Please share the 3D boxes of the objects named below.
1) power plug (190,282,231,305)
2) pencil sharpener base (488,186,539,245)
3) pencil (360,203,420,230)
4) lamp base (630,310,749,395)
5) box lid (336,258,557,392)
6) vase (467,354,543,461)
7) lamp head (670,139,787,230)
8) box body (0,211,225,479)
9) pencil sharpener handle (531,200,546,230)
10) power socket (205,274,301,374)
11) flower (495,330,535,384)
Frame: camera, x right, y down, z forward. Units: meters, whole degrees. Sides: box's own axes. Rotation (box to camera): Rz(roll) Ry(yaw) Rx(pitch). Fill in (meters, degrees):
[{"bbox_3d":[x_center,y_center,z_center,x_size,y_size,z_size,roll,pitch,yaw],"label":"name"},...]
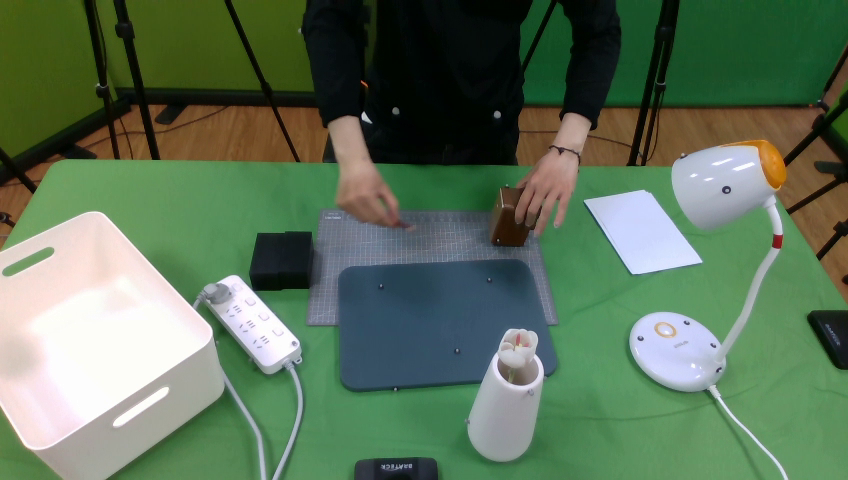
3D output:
[{"bbox_3d":[-0.368,0.098,1.039,0.072,0.053,0.035,-26,55,-20],"label":"power plug"},{"bbox_3d":[0.175,-0.046,1.184,0.077,0.107,0.061,6,47,-7],"label":"pencil sharpener base"},{"bbox_3d":[-0.063,-0.043,1.089,0.012,0.012,0.193,-28,31,-27],"label":"pencil"},{"bbox_3d":[0.447,0.142,0.984,0.161,0.181,0.178,-24,55,-24],"label":"lamp base"},{"bbox_3d":[0.030,0.140,1.073,0.372,0.015,0.261,-3,47,-7],"label":"box lid"},{"bbox_3d":[0.116,0.234,0.861,0.098,0.201,0.097,1,47,-1],"label":"vase"},{"bbox_3d":[0.415,-0.079,0.811,0.113,0.123,0.112,13,70,-37],"label":"lamp head"},{"bbox_3d":[-0.504,0.154,0.916,0.362,0.161,0.254,36,54,27],"label":"box body"},{"bbox_3d":[0.228,-0.048,1.180,0.031,0.068,0.036,6,38,-7],"label":"pencil sharpener handle"},{"bbox_3d":[-0.296,0.140,1.035,0.072,0.033,0.225,-32,57,-29],"label":"power socket"},{"bbox_3d":[0.110,0.187,0.791,0.044,0.363,0.038,-32,65,-10],"label":"flower"}]
